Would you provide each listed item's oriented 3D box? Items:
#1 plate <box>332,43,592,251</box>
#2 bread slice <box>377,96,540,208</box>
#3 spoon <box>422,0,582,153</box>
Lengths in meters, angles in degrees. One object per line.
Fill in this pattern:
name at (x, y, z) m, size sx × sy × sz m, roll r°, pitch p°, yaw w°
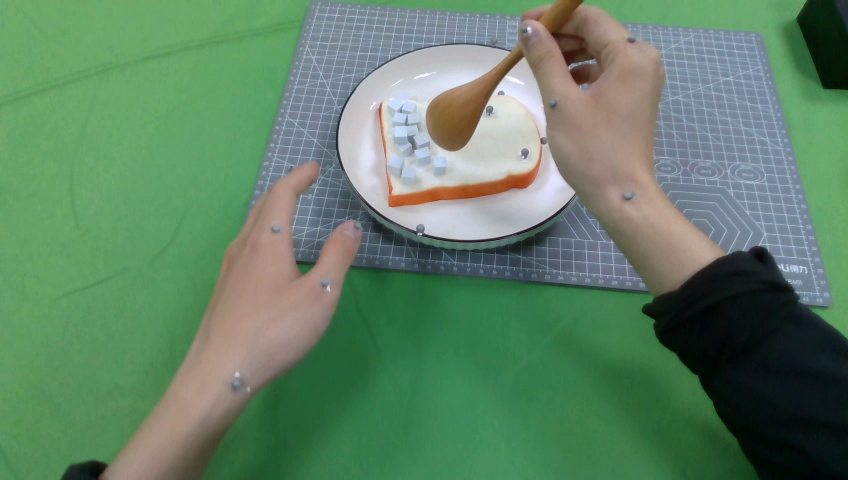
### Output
plate at (0.030, -0.077, 0.497) m, size 0.209 × 0.038 × 0.207 m, roll 1°, pitch 59°, yaw 0°
bread slice at (0.029, -0.080, 0.502) m, size 0.132 × 0.019 × 0.104 m, roll -8°, pitch 60°, yaw -4°
spoon at (0.056, -0.118, 0.389) m, size 0.041 × 0.194 × 0.021 m, roll 53°, pitch 41°, yaw 3°
